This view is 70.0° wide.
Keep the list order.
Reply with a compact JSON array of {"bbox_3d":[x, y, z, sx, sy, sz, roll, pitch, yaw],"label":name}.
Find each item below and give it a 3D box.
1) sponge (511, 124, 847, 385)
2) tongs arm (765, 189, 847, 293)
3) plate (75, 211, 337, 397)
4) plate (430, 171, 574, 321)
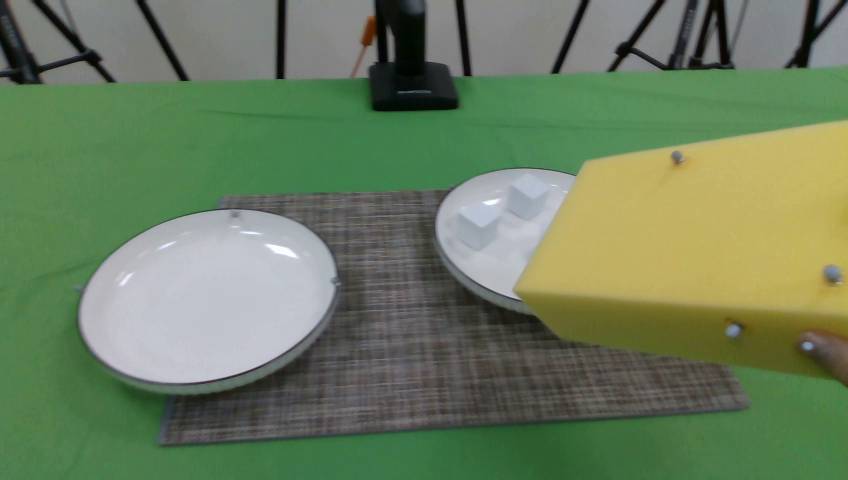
[{"bbox_3d":[0.163,0.007,0.354,0.205,0.061,0.118,-3,50,55],"label":"sponge"},{"bbox_3d":[0.430,0.074,0.540,0.028,0.028,0.383,-5,41,-12],"label":"tongs arm"},{"bbox_3d":[-0.178,0.052,0.519,0.209,0.038,0.207,2,40,-1],"label":"plate"},{"bbox_3d":[0.109,0.006,0.589,0.208,0.039,0.205,2,41,-1],"label":"plate"}]
